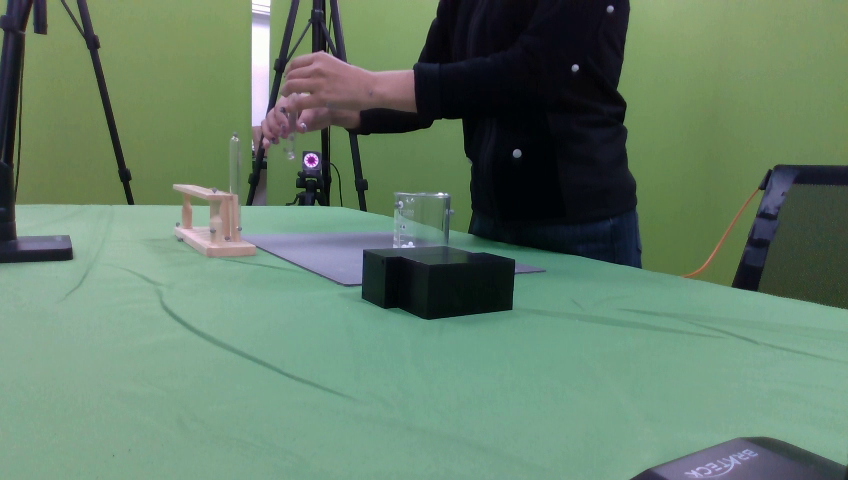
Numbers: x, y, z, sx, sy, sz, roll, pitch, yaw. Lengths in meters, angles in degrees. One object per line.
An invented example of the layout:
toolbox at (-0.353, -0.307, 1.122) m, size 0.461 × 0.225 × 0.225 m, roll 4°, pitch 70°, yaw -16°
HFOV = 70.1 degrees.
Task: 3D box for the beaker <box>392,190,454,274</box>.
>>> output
beaker at (-0.005, -0.011, 0.760) m, size 0.074 × 0.100 × 0.083 m, roll -2°, pitch 8°, yaw -32°

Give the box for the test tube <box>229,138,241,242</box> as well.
test tube at (-0.270, -0.071, 0.866) m, size 0.017 × 0.150 × 0.017 m, roll 2°, pitch 8°, yaw 0°

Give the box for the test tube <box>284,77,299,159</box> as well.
test tube at (-0.211, -0.191, 0.960) m, size 0.017 × 0.150 × 0.017 m, roll 9°, pitch 43°, yaw -8°

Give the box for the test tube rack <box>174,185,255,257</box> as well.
test tube rack at (-0.324, -0.035, 0.922) m, size 0.067 × 0.085 × 0.241 m, roll -2°, pitch 9°, yaw -32°
